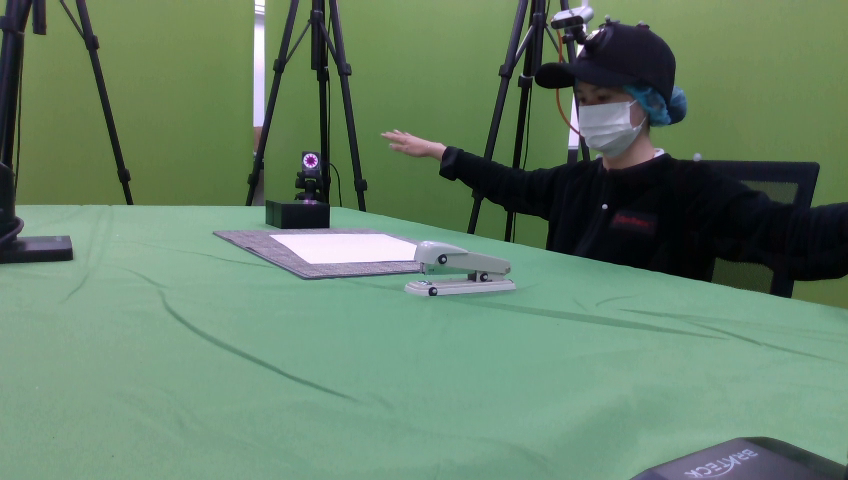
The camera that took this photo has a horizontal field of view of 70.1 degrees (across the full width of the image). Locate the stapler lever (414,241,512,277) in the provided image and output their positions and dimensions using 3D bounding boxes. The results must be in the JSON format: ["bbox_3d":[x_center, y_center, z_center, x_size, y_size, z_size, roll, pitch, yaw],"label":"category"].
[{"bbox_3d":[0.044,0.021,0.667,0.119,0.040,0.026,0,9,-29],"label":"stapler lever"}]

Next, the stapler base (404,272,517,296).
[{"bbox_3d":[0.041,0.045,0.669,0.131,0.024,0.041,1,9,-29],"label":"stapler base"}]
